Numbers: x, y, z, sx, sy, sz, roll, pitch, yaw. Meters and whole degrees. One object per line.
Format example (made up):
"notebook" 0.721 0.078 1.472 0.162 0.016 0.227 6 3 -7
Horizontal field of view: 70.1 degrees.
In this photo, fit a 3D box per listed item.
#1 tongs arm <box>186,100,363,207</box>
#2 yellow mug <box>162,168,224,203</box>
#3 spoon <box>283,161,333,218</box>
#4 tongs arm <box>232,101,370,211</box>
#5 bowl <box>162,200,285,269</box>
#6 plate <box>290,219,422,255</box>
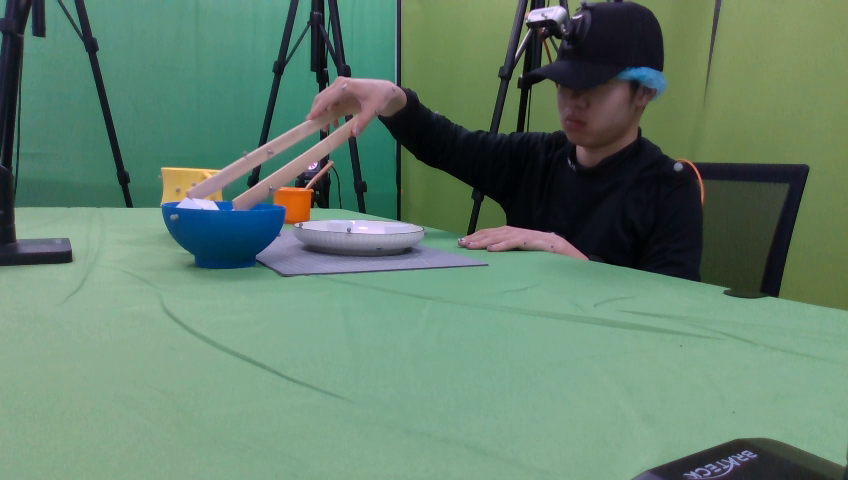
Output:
"tongs arm" -0.210 -0.145 0.938 0.050 0.026 0.385 12 35 22
"yellow mug" -0.383 -0.087 1.026 0.130 0.064 0.100 11 11 44
"spoon" -0.262 -0.115 1.359 0.041 0.194 0.022 13 -33 38
"tongs arm" -0.169 -0.135 0.921 0.028 0.028 0.388 7 33 22
"bowl" -0.258 -0.007 0.784 0.151 0.077 0.151 3 8 0
"plate" -0.108 -0.005 0.963 0.208 0.039 0.207 3 7 0
